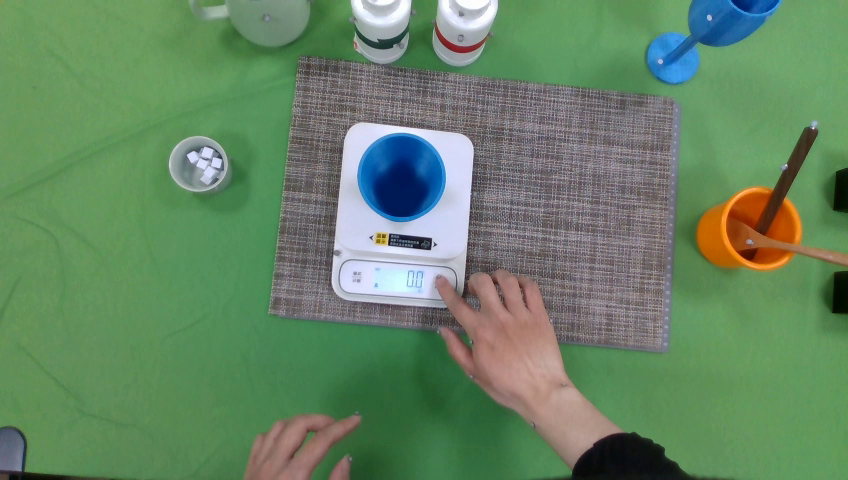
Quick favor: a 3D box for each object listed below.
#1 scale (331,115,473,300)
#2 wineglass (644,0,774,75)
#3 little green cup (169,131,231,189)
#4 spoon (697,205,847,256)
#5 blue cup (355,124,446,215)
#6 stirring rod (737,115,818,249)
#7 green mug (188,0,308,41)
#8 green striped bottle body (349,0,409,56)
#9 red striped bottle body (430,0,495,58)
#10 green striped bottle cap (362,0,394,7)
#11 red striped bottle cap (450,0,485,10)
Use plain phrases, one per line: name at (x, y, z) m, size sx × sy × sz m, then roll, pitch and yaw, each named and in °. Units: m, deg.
scale at (-0.024, -0.036, 0.679) m, size 0.149 × 0.031 × 0.200 m, roll 4°, pitch 85°, yaw -3°
wineglass at (0.303, -0.240, 0.652) m, size 0.074 × 0.172 × 0.073 m, roll 0°, pitch 84°, yaw -3°
little green cup at (-0.244, -0.086, 0.668) m, size 0.061 × 0.038 × 0.061 m, roll 0°, pitch 85°, yaw -5°
spoon at (0.392, -0.002, 0.650) m, size 0.022 × 0.192 × 0.041 m, roll 19°, pitch 91°, yaw -45°
blue cup at (-0.025, -0.063, 0.616) m, size 0.093 × 0.100 × 0.092 m, roll 0°, pitch 87°, yaw -3°
stirring rod at (0.378, -0.056, 0.654) m, size 0.014 × 0.177 × 0.006 m, roll 12°, pitch 43°, yaw 10°
green mug at (-0.193, -0.272, 0.655) m, size 0.125 × 0.105 × 0.092 m, roll -17°, pitch 86°, yaw -5°
green striped bottle body at (-0.049, -0.252, 0.655) m, size 0.063 × 0.119 × 0.063 m, roll 0°, pitch 84°, yaw -3°
red striped bottle body at (0.041, -0.251, 0.662) m, size 0.063 × 0.120 × 0.063 m, roll 0°, pitch 84°, yaw -4°
green striped bottle cap at (-0.046, -0.257, 0.604) m, size 0.044 × 0.020 × 0.044 m, roll 0°, pitch 84°, yaw -4°
red striped bottle cap at (0.045, -0.256, 0.609) m, size 0.044 × 0.018 × 0.044 m, roll 1°, pitch 84°, yaw -7°
